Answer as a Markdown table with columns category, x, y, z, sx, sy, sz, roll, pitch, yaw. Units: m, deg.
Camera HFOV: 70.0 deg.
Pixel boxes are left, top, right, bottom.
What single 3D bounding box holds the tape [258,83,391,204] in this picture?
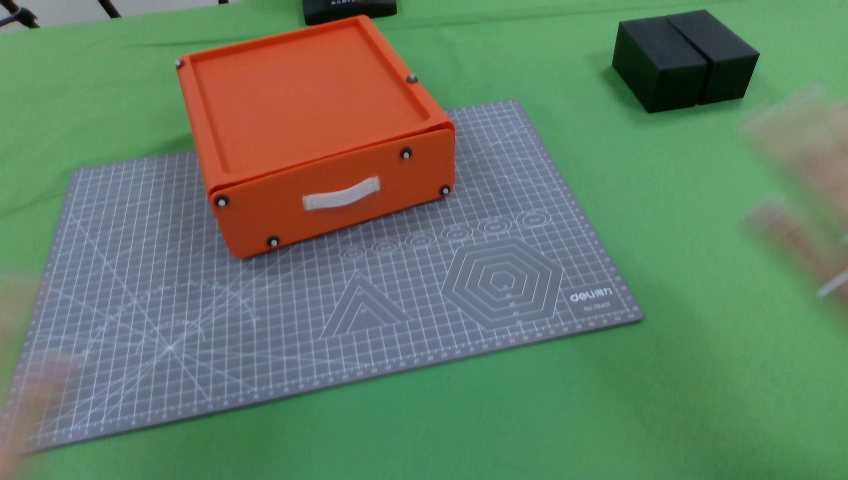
| category | x | y | z | sx | sy | sz | roll | pitch | yaw |
| --- | --- | --- | --- | --- | --- | --- | --- | --- | --- |
| tape | -0.090 | -0.090 | 0.547 | 0.117 | 0.053 | 0.115 | -1 | 48 | 2 |

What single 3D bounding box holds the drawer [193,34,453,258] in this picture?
| category | x | y | z | sx | sy | sz | roll | pitch | yaw |
| --- | --- | --- | --- | --- | --- | --- | --- | --- | --- |
| drawer | -0.103 | -0.099 | 0.553 | 0.195 | 0.074 | 0.209 | -19 | 47 | -13 |

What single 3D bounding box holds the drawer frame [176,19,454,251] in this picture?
| category | x | y | z | sx | sy | sz | roll | pitch | yaw |
| --- | --- | --- | --- | --- | --- | --- | --- | --- | --- |
| drawer frame | -0.105 | -0.105 | 0.557 | 0.202 | 0.083 | 0.211 | -19 | 47 | -14 |
